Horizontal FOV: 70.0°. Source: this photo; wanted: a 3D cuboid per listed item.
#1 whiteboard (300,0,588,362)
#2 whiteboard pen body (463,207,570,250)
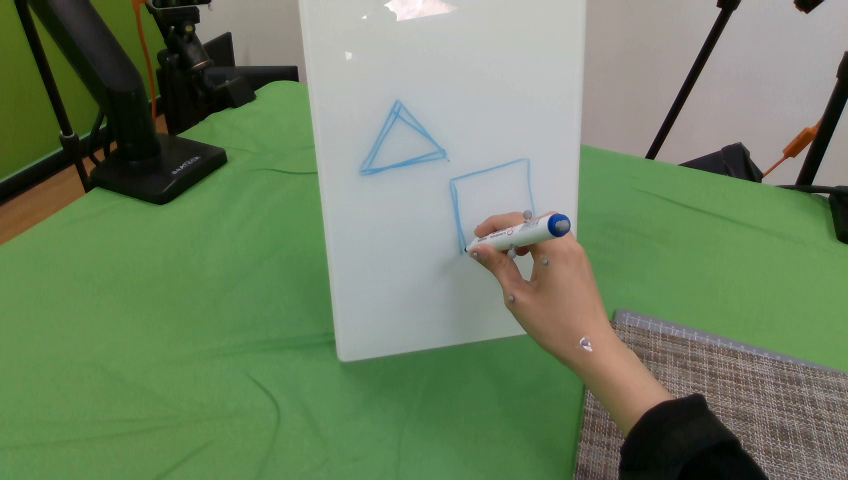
[{"bbox_3d":[0.012,-0.075,0.543,0.218,0.307,0.142,-7,20,-11],"label":"whiteboard"},{"bbox_3d":[0.060,-0.005,0.440,0.017,0.017,0.140,-18,-1,-24],"label":"whiteboard pen body"}]
